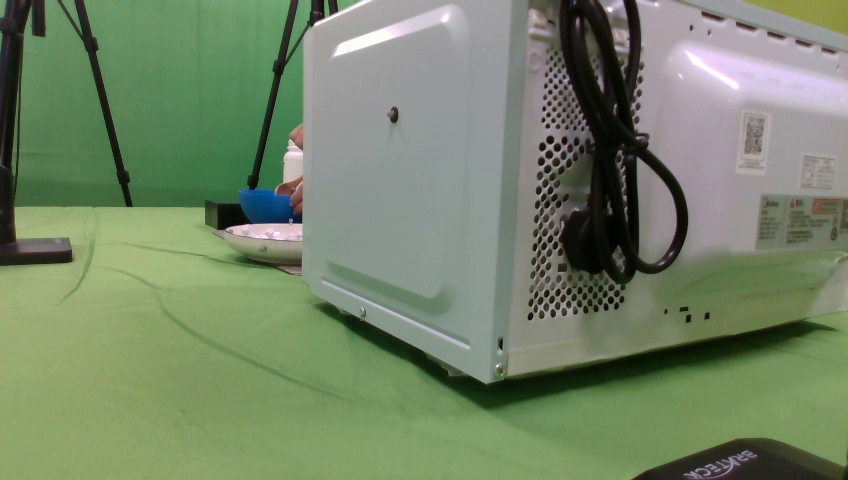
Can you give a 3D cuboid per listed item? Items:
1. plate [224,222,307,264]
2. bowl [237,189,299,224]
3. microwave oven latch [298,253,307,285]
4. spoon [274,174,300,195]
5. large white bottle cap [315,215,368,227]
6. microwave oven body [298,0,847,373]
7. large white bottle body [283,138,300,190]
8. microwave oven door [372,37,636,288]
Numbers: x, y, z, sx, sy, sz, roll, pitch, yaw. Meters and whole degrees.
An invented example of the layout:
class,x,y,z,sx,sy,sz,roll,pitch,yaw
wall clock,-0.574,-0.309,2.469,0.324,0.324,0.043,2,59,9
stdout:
class,x,y,z,sx,sy,sz,roll,pitch,yaw
plate,-0.171,0.004,0.849,0.209,0.038,0.209,2,7,0
bowl,-0.246,-0.045,1.053,0.151,0.077,0.151,3,8,0
microwave oven latch,-0.081,0.027,0.582,0.079,0.029,0.030,-1,7,-32
spoon,-0.221,-0.120,1.094,0.021,0.042,0.194,5,40,25
large white bottle cap,-0.178,-0.041,1.309,0.115,0.018,0.115,2,6,0
microwave oven body,0.151,-0.055,0.542,0.444,0.260,0.324,-2,7,-33
large white bottle body,-0.265,-0.144,1.423,0.131,0.184,0.130,2,7,0
microwave oven door,0.110,-0.080,0.686,0.358,0.243,0.039,-2,9,-33
